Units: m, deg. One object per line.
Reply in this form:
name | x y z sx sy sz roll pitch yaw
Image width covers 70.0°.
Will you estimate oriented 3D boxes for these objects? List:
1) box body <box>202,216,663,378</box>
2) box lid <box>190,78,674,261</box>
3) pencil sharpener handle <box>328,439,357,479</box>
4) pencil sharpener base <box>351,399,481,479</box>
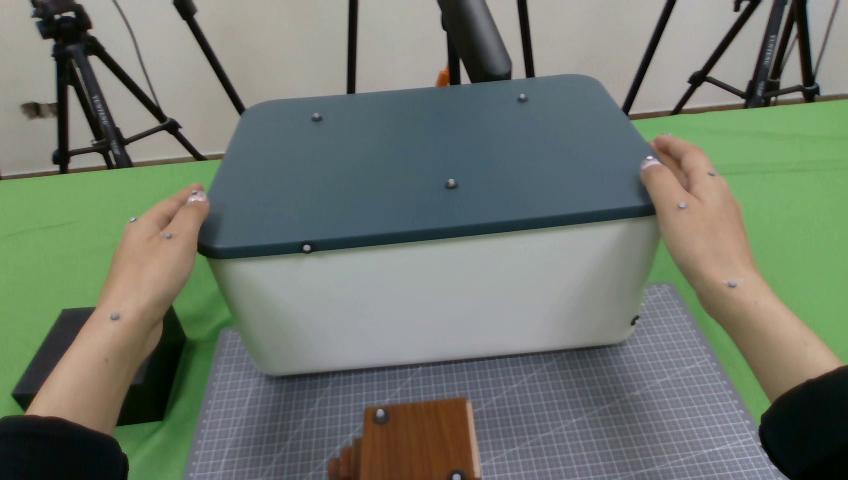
box body | 0.007 -0.018 0.586 0.364 0.162 0.251 -5 37 -1
box lid | -0.001 -0.077 0.541 0.372 0.015 0.260 -5 36 -1
pencil sharpener handle | -0.055 0.156 0.389 0.030 0.068 0.035 -5 41 0
pencil sharpener base | -0.003 0.162 0.396 0.077 0.108 0.061 -5 38 0
